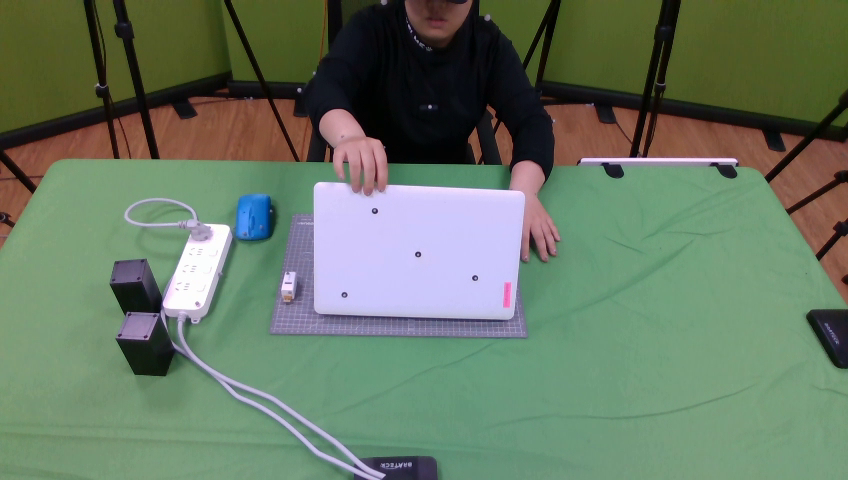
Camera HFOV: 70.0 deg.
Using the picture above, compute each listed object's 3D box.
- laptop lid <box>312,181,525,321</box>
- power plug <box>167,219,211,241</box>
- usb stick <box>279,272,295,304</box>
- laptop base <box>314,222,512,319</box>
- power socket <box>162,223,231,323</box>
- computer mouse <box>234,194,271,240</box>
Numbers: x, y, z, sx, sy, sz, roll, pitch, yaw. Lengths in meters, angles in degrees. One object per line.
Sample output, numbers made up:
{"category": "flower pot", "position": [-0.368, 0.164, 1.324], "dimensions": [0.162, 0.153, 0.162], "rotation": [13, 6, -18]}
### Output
{"category": "laptop lid", "position": [-0.013, 0.023, 1.024], "dimensions": [0.357, 0.242, 0.013], "rotation": [4, 15, -2]}
{"category": "power plug", "position": [-0.438, -0.017, 1.144], "dimensions": [0.072, 0.053, 0.035], "rotation": [10, 44, 7]}
{"category": "usb stick", "position": [-0.246, 0.088, 1.086], "dimensions": [0.021, 0.027, 0.059], "rotation": [4, 47, -5]}
{"category": "laptop base", "position": [-0.018, 0.055, 1.145], "dimensions": [0.354, 0.023, 0.234], "rotation": [2, 42, -2]}
{"category": "power socket", "position": [-0.412, 0.051, 1.107], "dimensions": [0.072, 0.033, 0.225], "rotation": [4, 46, -2]}
{"category": "computer mouse", "position": [-0.341, -0.049, 1.208], "dimensions": [0.063, 0.041, 0.116], "rotation": [0, 50, -7]}
